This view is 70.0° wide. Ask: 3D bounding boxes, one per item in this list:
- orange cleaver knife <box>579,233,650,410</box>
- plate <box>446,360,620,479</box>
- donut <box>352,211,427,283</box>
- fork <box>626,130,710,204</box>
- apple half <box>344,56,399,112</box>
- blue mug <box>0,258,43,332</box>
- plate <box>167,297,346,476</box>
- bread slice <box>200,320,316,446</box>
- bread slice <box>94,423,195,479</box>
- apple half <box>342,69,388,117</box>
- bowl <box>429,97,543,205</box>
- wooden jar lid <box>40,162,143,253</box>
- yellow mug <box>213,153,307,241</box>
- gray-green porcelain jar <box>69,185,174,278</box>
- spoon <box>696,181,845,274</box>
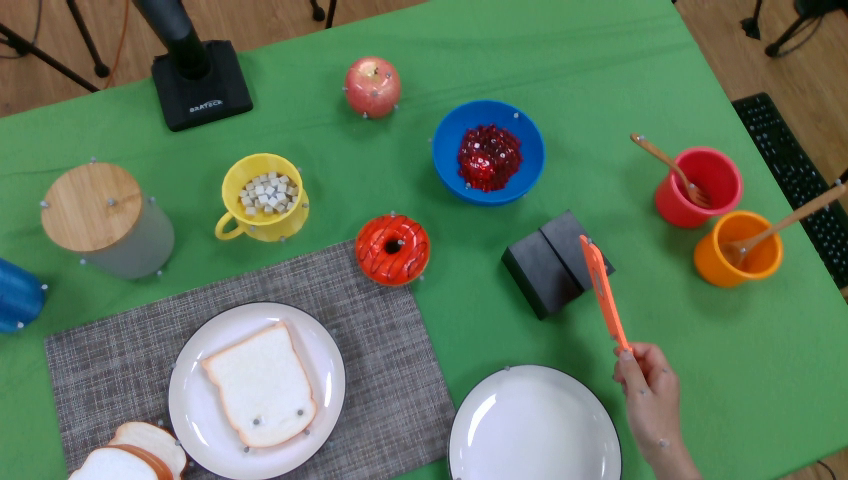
[{"bbox_3d":[0.220,0.093,0.709,0.012,0.077,0.211,-19,94,2],"label":"orange cleaver knife"},{"bbox_3d":[0.128,0.251,0.727,0.209,0.038,0.207,1,72,-3],"label":"plate"},{"bbox_3d":[-0.045,0.009,0.790,0.099,0.048,0.098,1,72,-3],"label":"donut"},{"bbox_3d":[0.324,-0.094,0.796,0.209,0.018,0.028,27,65,-38],"label":"fork"},{"bbox_3d":[-0.067,-0.223,0.854,0.080,0.075,0.053,34,67,12],"label":"apple half"},{"bbox_3d":[-0.532,0.070,0.711,0.082,0.106,0.116,43,74,11],"label":"blue mug"},{"bbox_3d":[-0.197,0.174,0.729,0.208,0.039,0.206,1,72,-3],"label":"plate"},{"bbox_3d":[-0.190,0.176,0.730,0.107,0.018,0.133,-30,75,-12],"label":"bread slice"},{"bbox_3d":[-0.317,0.277,0.686,0.105,0.019,0.131,16,69,-6],"label":"bread slice"},{"bbox_3d":[-0.089,-0.194,0.842,0.081,0.082,0.032,35,68,9],"label":"apple half"},{"bbox_3d":[0.080,-0.108,0.822,0.151,0.077,0.150,1,72,-3],"label":"bowl"},{"bbox_3d":[-0.369,-0.035,0.679,0.108,0.021,0.107,1,70,-2],"label":"wooden jar lid"},{"bbox_3d":[-0.220,-0.046,0.790,0.131,0.064,0.099,-42,79,-14],"label":"yellow mug"},{"bbox_3d":[-0.372,-0.015,0.738,0.106,0.127,0.105,1,71,-3],"label":"gray-green porcelain jar"},{"bbox_3d":[0.440,-0.015,0.777,0.022,0.194,0.041,-5,62,-53],"label":"spoon"}]
